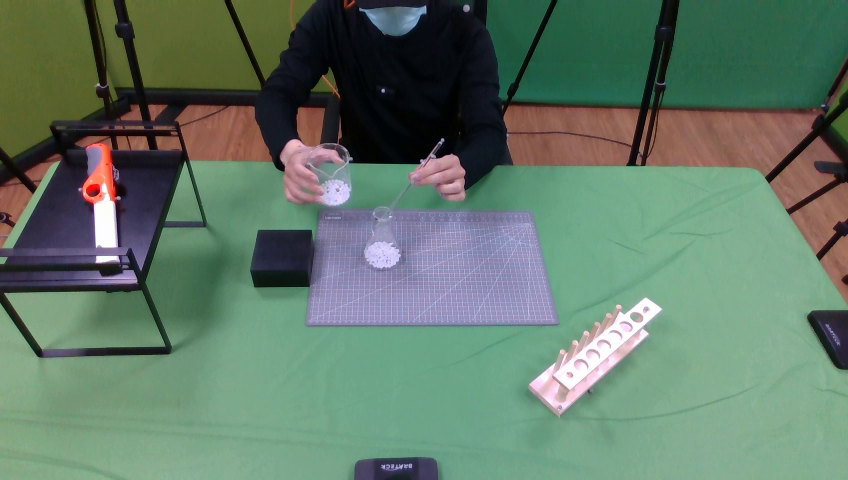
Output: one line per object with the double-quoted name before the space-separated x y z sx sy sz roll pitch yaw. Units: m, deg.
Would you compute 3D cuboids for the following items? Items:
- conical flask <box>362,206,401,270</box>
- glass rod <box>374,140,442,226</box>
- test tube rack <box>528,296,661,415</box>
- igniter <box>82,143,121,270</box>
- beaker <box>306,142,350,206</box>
"conical flask" -0.078 -0.008 1.126 0.075 0.122 0.075 2 46 -2
"glass rod" -0.030 -0.097 1.066 0.008 0.200 0.008 33 23 -16
"test tube rack" 0.285 0.178 1.005 0.242 0.085 0.066 -31 56 -29
"igniter" -0.509 -0.063 0.961 0.057 0.025 0.274 -14 53 -18
"beaker" -0.172 -0.115 1.109 0.074 0.101 0.083 -8 53 -8
